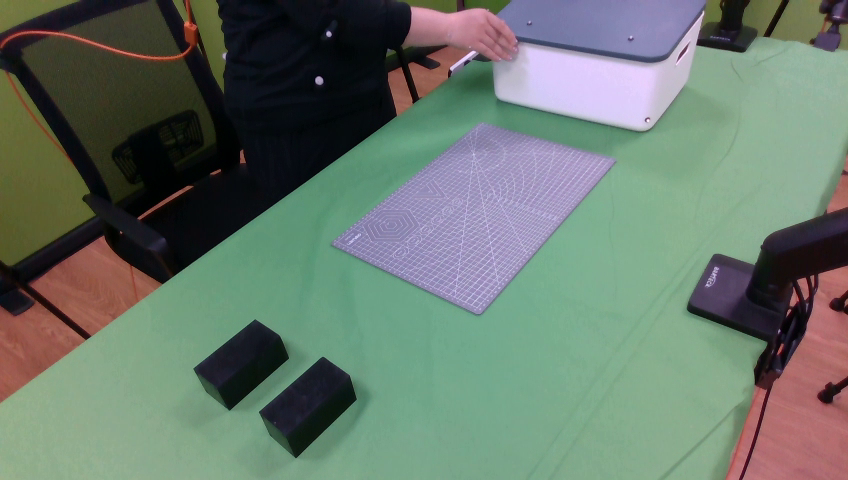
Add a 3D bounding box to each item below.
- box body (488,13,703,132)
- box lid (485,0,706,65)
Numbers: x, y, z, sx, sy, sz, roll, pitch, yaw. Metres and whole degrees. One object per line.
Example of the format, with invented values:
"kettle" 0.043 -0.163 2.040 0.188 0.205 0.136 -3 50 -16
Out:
"box body" 0.346 -0.374 1.251 0.361 0.161 0.255 21 48 29
"box lid" 0.334 -0.436 1.190 0.369 0.015 0.263 21 53 29
